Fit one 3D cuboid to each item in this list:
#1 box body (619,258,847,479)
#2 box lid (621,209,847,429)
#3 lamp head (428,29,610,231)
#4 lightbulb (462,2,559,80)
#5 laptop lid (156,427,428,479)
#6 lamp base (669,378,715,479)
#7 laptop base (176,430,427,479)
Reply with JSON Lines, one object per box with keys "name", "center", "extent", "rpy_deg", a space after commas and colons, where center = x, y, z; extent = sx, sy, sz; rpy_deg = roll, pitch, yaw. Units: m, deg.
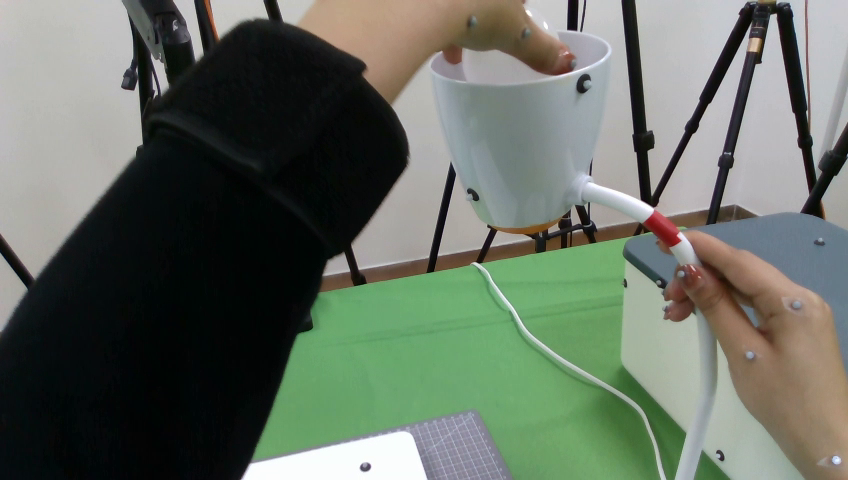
{"name": "box body", "center": [0.387, 0.126, 0.584], "extent": [0.255, 0.161, 0.360], "rpy_deg": [-10, 27, -15]}
{"name": "box lid", "center": [0.384, 0.059, 0.552], "extent": [0.264, 0.015, 0.367], "rpy_deg": [-9, 27, -15]}
{"name": "lamp head", "center": [0.067, -0.067, 0.399], "extent": [0.112, 0.124, 0.111], "rpy_deg": [-10, 28, 6]}
{"name": "lightbulb", "center": [0.056, -0.094, 0.385], "extent": [0.059, 0.108, 0.059], "rpy_deg": [-7, 35, 5]}
{"name": "laptop lid", "center": [-0.155, 0.266, 0.480], "extent": [0.357, 0.013, 0.239], "rpy_deg": [-8, 29, -11]}
{"name": "lamp base", "center": [0.174, 0.199, 0.431], "extent": [0.160, 0.181, 0.179], "rpy_deg": [9, 26, 20]}
{"name": "laptop base", "center": [-0.155, 0.276, 0.487], "extent": [0.355, 0.023, 0.233], "rpy_deg": [-9, 30, -13]}
